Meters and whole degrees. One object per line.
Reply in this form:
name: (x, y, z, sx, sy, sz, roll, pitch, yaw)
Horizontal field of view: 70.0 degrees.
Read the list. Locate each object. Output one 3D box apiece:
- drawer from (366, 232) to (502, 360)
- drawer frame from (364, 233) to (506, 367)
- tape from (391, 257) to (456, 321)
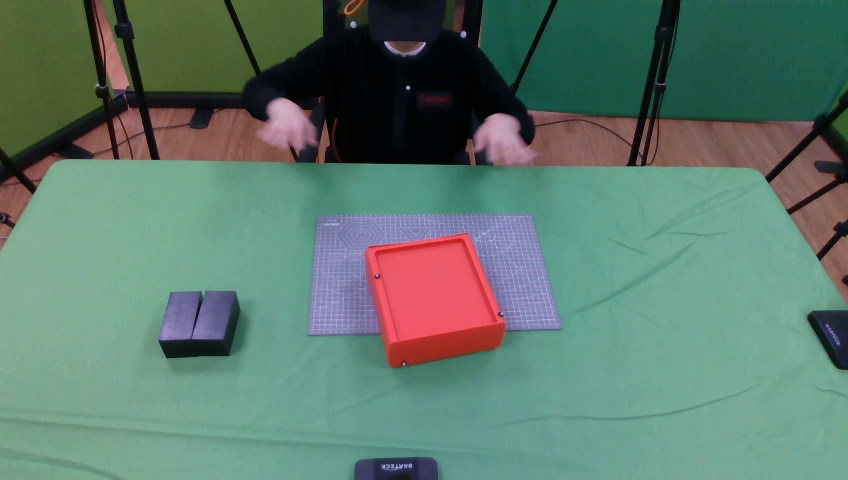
drawer: (0.011, 0.093, 1.064, 0.195, 0.073, 0.210, -7, 48, -12)
drawer frame: (0.013, 0.098, 1.058, 0.202, 0.083, 0.212, -9, 48, -12)
tape: (0.000, 0.086, 1.075, 0.117, 0.053, 0.116, 2, 44, -2)
